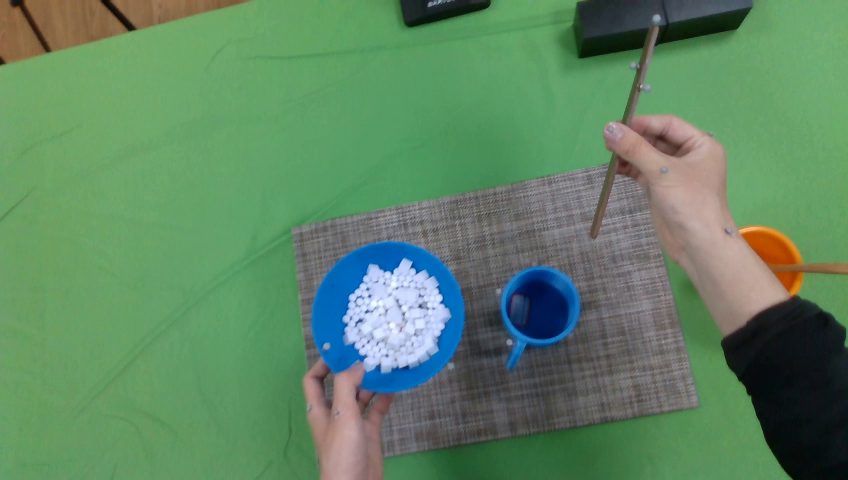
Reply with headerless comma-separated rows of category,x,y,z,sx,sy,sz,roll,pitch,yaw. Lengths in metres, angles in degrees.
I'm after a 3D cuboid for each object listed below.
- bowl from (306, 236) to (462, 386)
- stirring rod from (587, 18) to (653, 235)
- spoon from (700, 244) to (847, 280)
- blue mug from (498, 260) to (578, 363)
bowl,-0.037,0.078,0.622,0.151,0.077,0.150,0,72,0
stirring rod,0.158,-0.088,0.493,0.006,0.014,0.177,10,108,-2
spoon,0.387,0.024,0.638,0.022,0.192,0.041,19,77,-34
blue mug,0.118,0.085,0.679,0.082,0.106,0.116,27,84,12
